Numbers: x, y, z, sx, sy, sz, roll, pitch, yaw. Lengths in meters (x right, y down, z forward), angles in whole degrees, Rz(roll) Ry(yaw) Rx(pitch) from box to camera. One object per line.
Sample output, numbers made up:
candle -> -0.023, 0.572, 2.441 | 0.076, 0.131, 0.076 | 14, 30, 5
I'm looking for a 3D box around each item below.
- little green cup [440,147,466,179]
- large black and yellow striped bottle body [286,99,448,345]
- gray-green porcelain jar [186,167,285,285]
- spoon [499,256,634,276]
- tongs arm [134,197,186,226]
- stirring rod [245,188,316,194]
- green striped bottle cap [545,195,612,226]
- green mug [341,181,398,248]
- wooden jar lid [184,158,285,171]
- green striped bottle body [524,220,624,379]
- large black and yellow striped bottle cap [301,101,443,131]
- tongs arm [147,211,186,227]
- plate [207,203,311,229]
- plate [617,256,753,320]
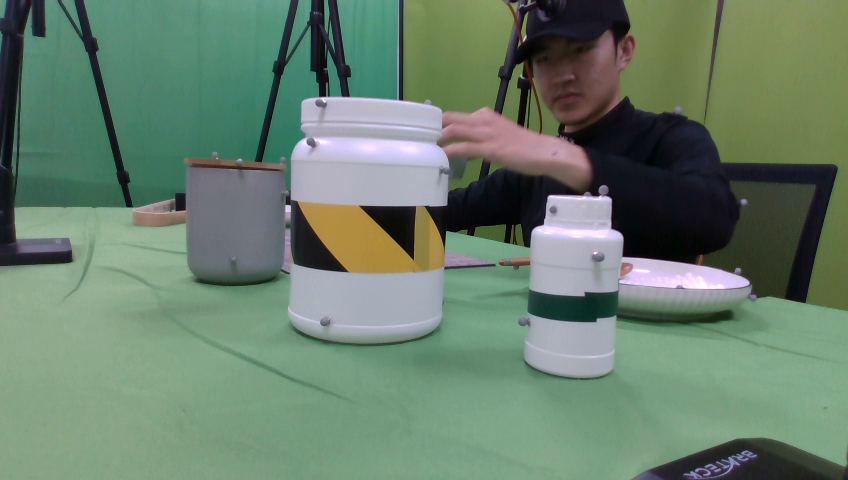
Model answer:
little green cup -> 0.025, -0.102, 0.806 | 0.061, 0.038, 0.061 | 5, 4, 0
large black and yellow striped bottle body -> -0.047, -0.018, 0.501 | 0.131, 0.184, 0.130 | 2, 7, 0
gray-green porcelain jar -> -0.212, -0.017, 0.682 | 0.106, 0.126, 0.106 | 2, 7, 0
spoon -> 0.162, 0.027, 0.679 | 0.195, 0.021, 0.041 | 8, 2, -30
tongs arm -> -0.556, -0.066, 1.320 | 0.051, 0.026, 0.384 | 7, 7, -5
stirring rod -> -0.351, -0.120, 1.489 | 0.177, 0.014, 0.006 | -3, 6, -29
green striped bottle cap -> 0.106, -0.020, 0.414 | 0.044, 0.020, 0.044 | 2, 4, 0
green mug -> -0.089, -0.044, 0.997 | 0.093, 0.105, 0.125 | 1, 7, -8
wooden jar lid -> -0.210, -0.078, 0.674 | 0.108, 0.020, 0.108 | 5, 6, 0
green striped bottle body -> 0.104, 0.031, 0.422 | 0.063, 0.119, 0.063 | 2, 7, 0
large black and yellow striped bottle cap -> -0.042, -0.100, 0.491 | 0.115, 0.019, 0.115 | 1, 8, 0
tongs arm -> -0.478, -0.059, 1.322 | 0.028, 0.028, 0.388 | 12, 8, 7
plate -> -0.342, -0.050, 1.259 | 0.208, 0.039, 0.207 | 2, 7, 0
plate -> 0.234, 0.049, 0.651 | 0.209, 0.038, 0.209 | 2, 7, 0
